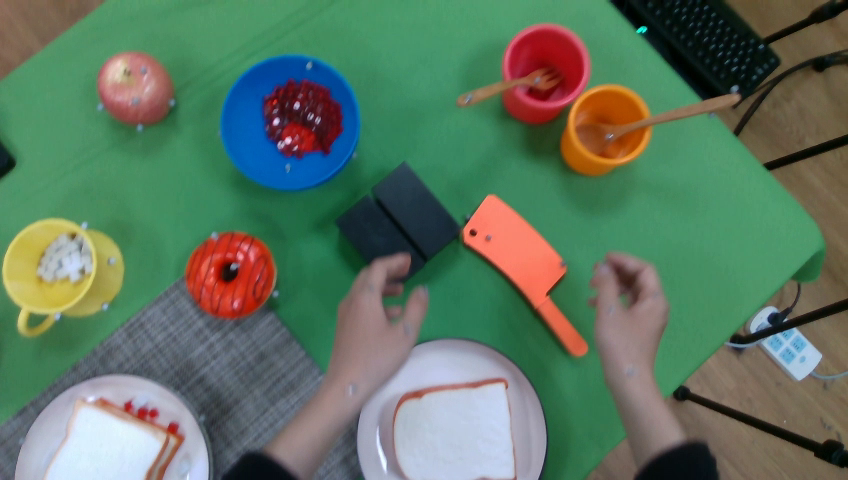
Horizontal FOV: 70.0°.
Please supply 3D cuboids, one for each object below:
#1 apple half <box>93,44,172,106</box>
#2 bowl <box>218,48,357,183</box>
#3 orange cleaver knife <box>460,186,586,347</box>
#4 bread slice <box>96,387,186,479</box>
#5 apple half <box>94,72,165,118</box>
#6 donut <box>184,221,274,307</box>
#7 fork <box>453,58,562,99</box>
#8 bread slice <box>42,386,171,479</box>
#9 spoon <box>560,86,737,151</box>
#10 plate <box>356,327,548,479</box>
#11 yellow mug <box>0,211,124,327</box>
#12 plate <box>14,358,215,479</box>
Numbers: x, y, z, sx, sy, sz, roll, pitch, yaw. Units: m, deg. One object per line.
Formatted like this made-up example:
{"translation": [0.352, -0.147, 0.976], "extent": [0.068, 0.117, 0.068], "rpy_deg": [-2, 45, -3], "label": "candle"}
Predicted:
{"translation": [-0.327, -0.192, 0.697], "extent": [0.081, 0.075, 0.053], "rpy_deg": [16, 76, 5], "label": "apple half"}
{"translation": [-0.148, -0.131, 0.690], "extent": [0.151, 0.077, 0.151], "rpy_deg": [0, 83, -1], "label": "bowl"}
{"translation": [0.127, 0.028, 0.705], "extent": [0.077, 0.012, 0.211], "rpy_deg": [-39, 83, -12], "label": "orange cleaver knife"}
{"translation": [-0.333, 0.239, 0.654], "extent": [0.105, 0.019, 0.131], "rpy_deg": [22, 81, 1], "label": "bread slice"}
{"translation": [-0.337, -0.156, 0.690], "extent": [0.081, 0.081, 0.032], "rpy_deg": [16, 77, 1], "label": "apple half"}
{"translation": [-0.218, 0.027, 0.680], "extent": [0.099, 0.048, 0.098], "rpy_deg": [0, 82, -2], "label": "donut"}
{"translation": [0.096, -0.178, 0.667], "extent": [0.207, 0.018, 0.028], "rpy_deg": [-28, 82, -47], "label": "fork"}
{"translation": [-0.334, 0.233, 0.628], "extent": [0.107, 0.018, 0.134], "rpy_deg": [18, 80, 4], "label": "bread slice"}
{"translation": [0.238, -0.135, 0.664], "extent": [0.022, 0.193, 0.041], "rpy_deg": [6, 78, -45], "label": "spoon"}
{"translation": [0.030, 0.200, 0.669], "extent": [0.209, 0.038, 0.208], "rpy_deg": [0, 82, -1], "label": "plate"}
{"translation": [-0.404, 0.036, 0.668], "extent": [0.100, 0.064, 0.130], "rpy_deg": [26, 83, 2], "label": "yellow mug"}
{"translation": [-0.326, 0.232, 0.653], "extent": [0.208, 0.039, 0.207], "rpy_deg": [0, 82, -1], "label": "plate"}
